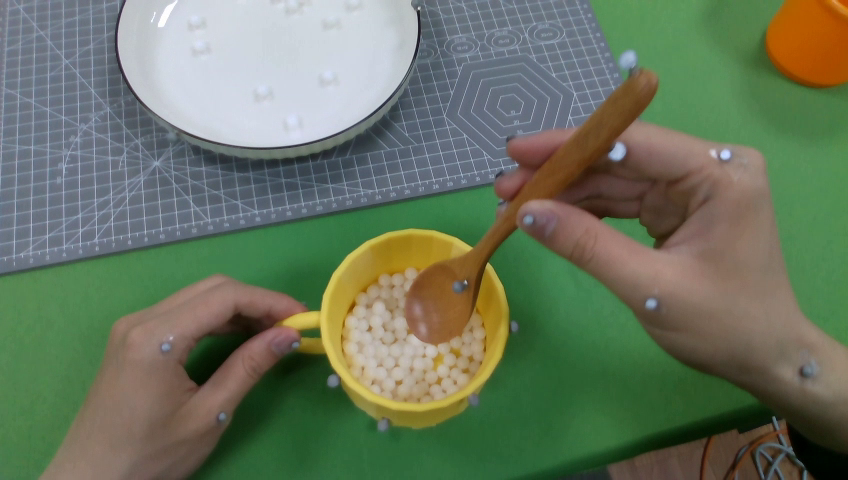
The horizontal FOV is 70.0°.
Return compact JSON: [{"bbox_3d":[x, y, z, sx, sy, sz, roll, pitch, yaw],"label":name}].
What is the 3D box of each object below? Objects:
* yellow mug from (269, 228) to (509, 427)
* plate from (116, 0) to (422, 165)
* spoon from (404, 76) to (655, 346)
[{"bbox_3d":[-0.021,0.052,0.342,0.131,0.064,0.099,-3,66,-3],"label":"yellow mug"},{"bbox_3d":[-0.105,-0.140,0.433,0.208,0.039,0.206,1,66,-3],"label":"plate"},{"bbox_3d":[0.034,0.000,0.269,0.022,0.194,0.041,-16,68,-31],"label":"spoon"}]
